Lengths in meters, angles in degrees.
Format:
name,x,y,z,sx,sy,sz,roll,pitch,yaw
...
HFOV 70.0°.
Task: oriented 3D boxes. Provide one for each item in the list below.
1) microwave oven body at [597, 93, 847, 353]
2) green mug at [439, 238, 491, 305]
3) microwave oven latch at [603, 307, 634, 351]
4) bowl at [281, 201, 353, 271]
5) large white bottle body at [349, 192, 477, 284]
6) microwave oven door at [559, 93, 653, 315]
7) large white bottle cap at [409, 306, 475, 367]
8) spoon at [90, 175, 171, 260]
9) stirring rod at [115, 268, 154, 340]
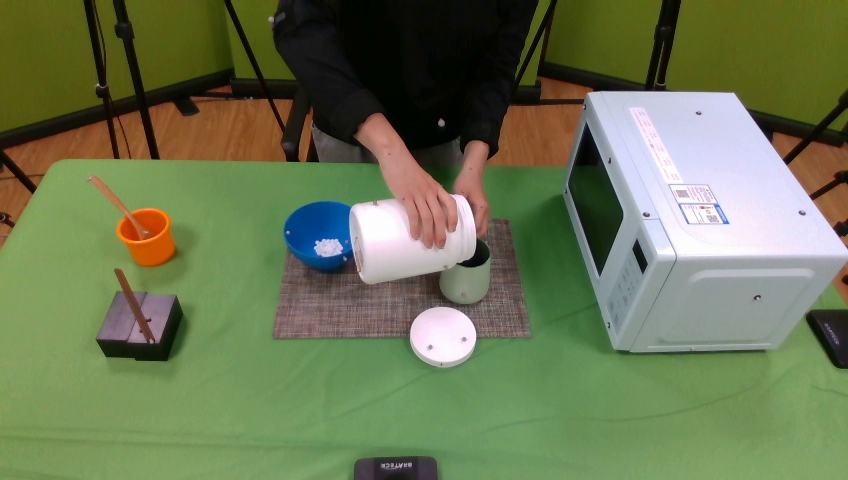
name,x,y,z,sx,sy,sz,roll,pitch,yaw
microwave oven body,0.475,-0.041,1.109,0.326,0.261,0.438,-1,45,-4
green mug,0.072,0.044,1.101,0.092,0.105,0.124,-6,46,-9
microwave oven latch,0.332,0.153,1.044,0.030,0.029,0.078,0,45,-3
bowl,-0.187,0.005,1.138,0.151,0.077,0.150,3,46,-3
large white bottle body,-0.019,-0.007,0.979,0.185,0.131,0.129,-10,47,-16
microwave oven door,0.327,-0.074,1.123,0.039,0.245,0.353,-1,46,-5
large white bottle cap,0.031,0.164,1.040,0.115,0.018,0.114,3,50,-3
spoon,-0.539,-0.042,1.111,0.041,0.194,0.021,-45,19,-33
stirring rod,-0.479,0.102,0.999,0.014,0.006,0.175,8,32,-49
